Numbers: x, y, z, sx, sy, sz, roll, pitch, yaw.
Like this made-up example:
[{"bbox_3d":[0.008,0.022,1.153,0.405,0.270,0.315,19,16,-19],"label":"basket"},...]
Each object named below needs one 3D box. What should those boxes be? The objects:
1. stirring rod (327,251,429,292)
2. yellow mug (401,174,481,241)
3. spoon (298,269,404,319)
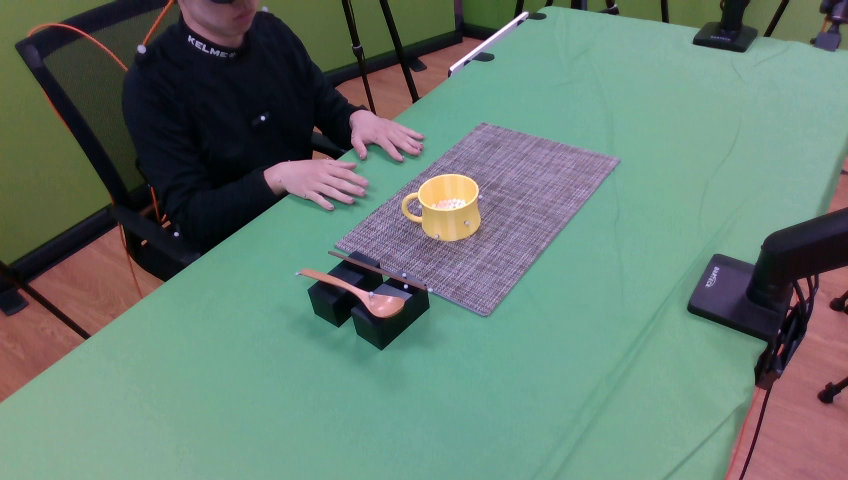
[{"bbox_3d":[-0.068,0.043,0.858,0.175,0.006,0.014,18,9,27],"label":"stirring rod"},{"bbox_3d":[0.026,-0.054,0.988,0.130,0.064,0.099,-1,40,8],"label":"yellow mug"},{"bbox_3d":[-0.106,0.068,0.831,0.192,0.022,0.042,21,49,32],"label":"spoon"}]
